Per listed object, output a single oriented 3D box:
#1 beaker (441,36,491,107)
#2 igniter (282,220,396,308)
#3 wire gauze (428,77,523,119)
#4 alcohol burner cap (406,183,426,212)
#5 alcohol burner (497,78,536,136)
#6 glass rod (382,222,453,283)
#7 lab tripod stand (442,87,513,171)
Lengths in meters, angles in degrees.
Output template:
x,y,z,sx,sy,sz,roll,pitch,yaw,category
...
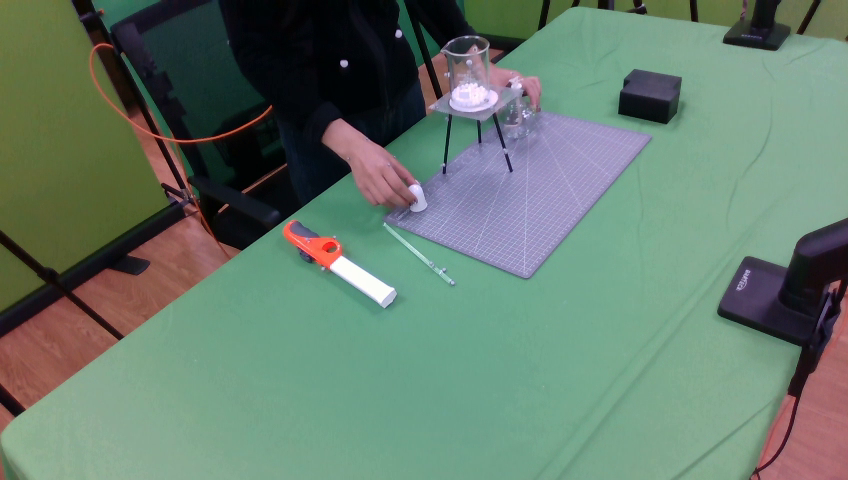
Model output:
x,y,z,sx,sy,sz,roll,pitch,yaw,category
0.074,-0.287,1.036,0.084,0.101,0.073,-1,41,8,beaker
-0.146,0.032,0.966,0.274,0.025,0.057,30,64,37,igniter
0.090,-0.248,1.063,0.120,0.011,0.125,24,48,30,wire gauze
-0.017,-0.076,1.045,0.034,0.048,0.033,-5,39,5,alcohol burner cap
0.181,-0.263,1.182,0.078,0.119,0.077,-4,42,4,alcohol burner
-0.014,0.016,0.976,0.008,0.008,0.198,-30,44,-22,glass rod
0.097,-0.200,1.108,0.148,0.132,0.147,-4,40,4,lab tripod stand
